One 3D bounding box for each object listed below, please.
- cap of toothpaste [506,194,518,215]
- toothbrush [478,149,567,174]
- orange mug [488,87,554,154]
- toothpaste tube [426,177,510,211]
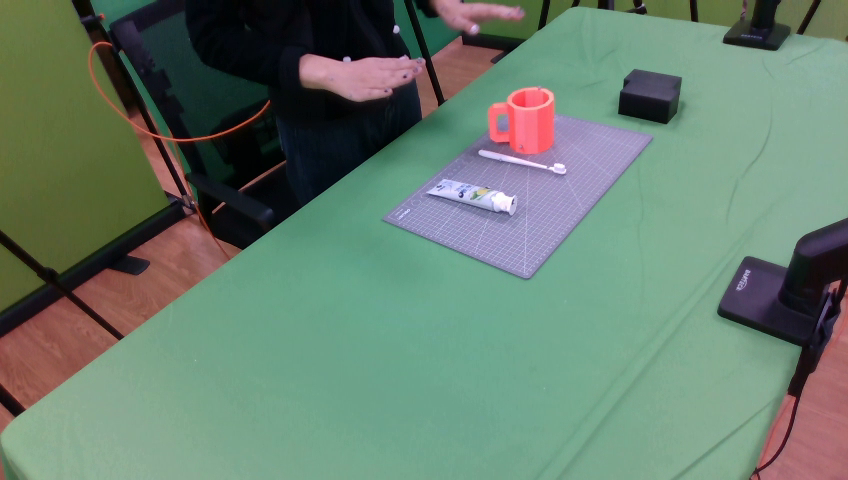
[{"bbox_3d":[0.146,-0.060,1.008,0.011,0.037,0.037,14,46,22],"label":"cap of toothpaste"},{"bbox_3d":[0.179,-0.149,1.123,0.180,0.017,0.014,18,62,30],"label":"toothbrush"},{"bbox_3d":[0.185,-0.227,1.151,0.126,0.101,0.083,1,41,5],"label":"orange mug"},{"bbox_3d":[0.083,-0.082,1.054,0.164,0.034,0.055,18,40,34],"label":"toothpaste tube"}]
